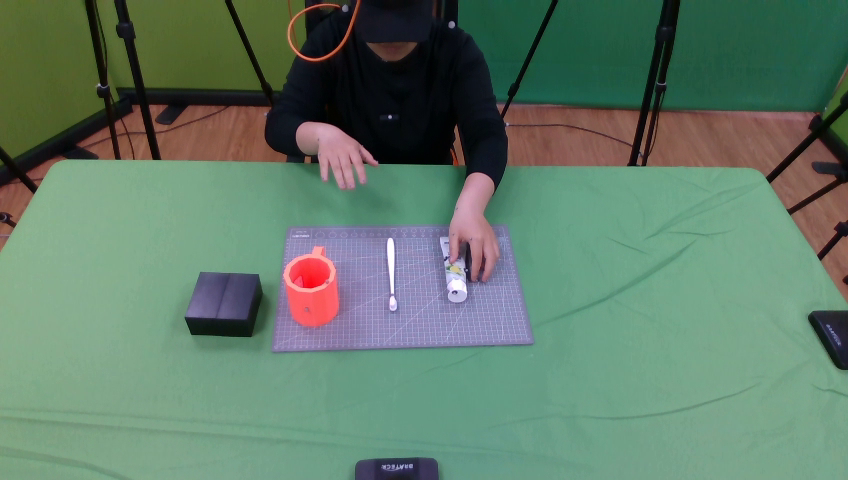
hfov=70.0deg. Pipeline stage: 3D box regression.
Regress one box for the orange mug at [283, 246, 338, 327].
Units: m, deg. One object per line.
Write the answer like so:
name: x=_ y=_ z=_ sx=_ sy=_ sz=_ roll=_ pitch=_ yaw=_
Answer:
orange mug: x=-0.193 y=0.074 z=1.056 sx=0.083 sy=0.101 sz=0.125 roll=5 pitch=50 yaw=1

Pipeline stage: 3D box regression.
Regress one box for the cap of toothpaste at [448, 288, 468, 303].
cap of toothpaste: x=0.062 y=0.099 z=1.093 sx=0.037 sy=0.037 sz=0.011 roll=1 pitch=43 yaw=-2

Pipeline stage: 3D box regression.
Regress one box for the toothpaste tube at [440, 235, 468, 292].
toothpaste tube: x=0.062 y=0.046 z=1.150 sx=0.055 sy=0.035 sz=0.164 roll=2 pitch=43 yaw=-5

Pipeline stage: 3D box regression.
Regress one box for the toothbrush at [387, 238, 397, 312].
toothbrush: x=-0.061 y=0.059 z=1.136 sx=0.014 sy=0.017 sz=0.180 roll=-11 pitch=44 yaw=5
